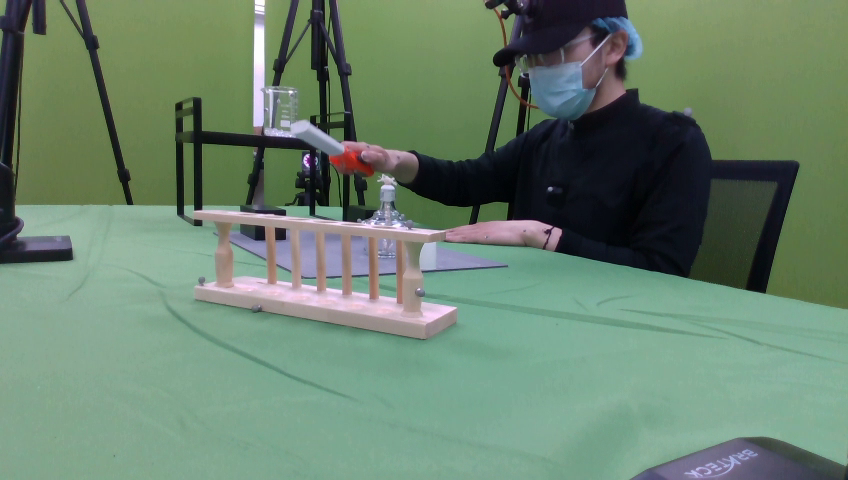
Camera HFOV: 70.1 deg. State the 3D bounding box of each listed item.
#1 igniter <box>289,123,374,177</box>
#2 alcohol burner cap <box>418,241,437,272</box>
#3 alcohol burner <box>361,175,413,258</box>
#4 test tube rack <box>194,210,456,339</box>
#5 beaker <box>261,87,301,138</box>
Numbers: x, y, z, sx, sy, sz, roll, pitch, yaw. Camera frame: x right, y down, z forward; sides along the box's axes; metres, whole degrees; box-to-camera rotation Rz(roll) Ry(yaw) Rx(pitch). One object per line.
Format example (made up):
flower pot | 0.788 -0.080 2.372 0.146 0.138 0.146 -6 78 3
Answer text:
igniter | -0.152 -0.152 1.066 0.057 0.025 0.277 -10 -11 18
alcohol burner cap | 0.001 0.015 0.787 0.034 0.048 0.034 4 7 0
alcohol burner | -0.054 -0.033 0.870 0.078 0.119 0.078 1 8 0
test tube rack | -0.093 0.023 0.545 0.241 0.085 0.067 6 8 25
beaker | -0.298 -0.263 1.255 0.084 0.100 0.073 -5 10 -40
